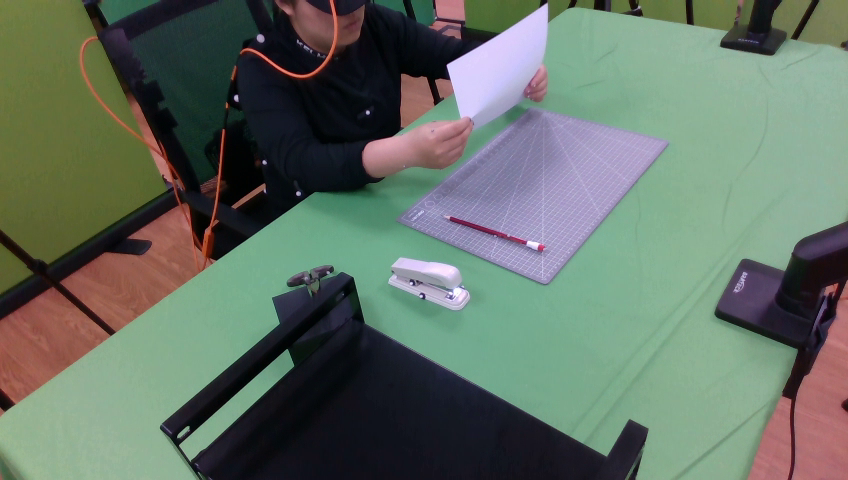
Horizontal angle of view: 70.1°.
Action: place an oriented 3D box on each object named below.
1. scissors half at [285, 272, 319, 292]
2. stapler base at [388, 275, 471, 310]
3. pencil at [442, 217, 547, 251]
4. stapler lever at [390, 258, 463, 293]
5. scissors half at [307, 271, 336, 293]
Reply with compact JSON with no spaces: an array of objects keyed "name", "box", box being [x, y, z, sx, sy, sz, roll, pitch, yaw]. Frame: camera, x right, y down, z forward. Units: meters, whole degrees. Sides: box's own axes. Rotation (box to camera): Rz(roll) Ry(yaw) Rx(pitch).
[{"name":"scissors half","box":[-0.171,0.063,0.868,0.040,0.013,0.174,-11,7,-21]},{"name":"stapler base","box":[0.007,0.066,0.897,0.129,0.024,0.041,17,43,29]},{"name":"pencil","box":[0.110,-0.012,0.980,0.192,0.012,0.012,18,46,30]},{"name":"stapler lever","box":[0.003,0.046,0.881,0.117,0.040,0.027,17,43,29]},{"name":"scissors half","box":[-0.152,0.061,0.872,0.040,0.013,0.175,-3,6,-4]}]
